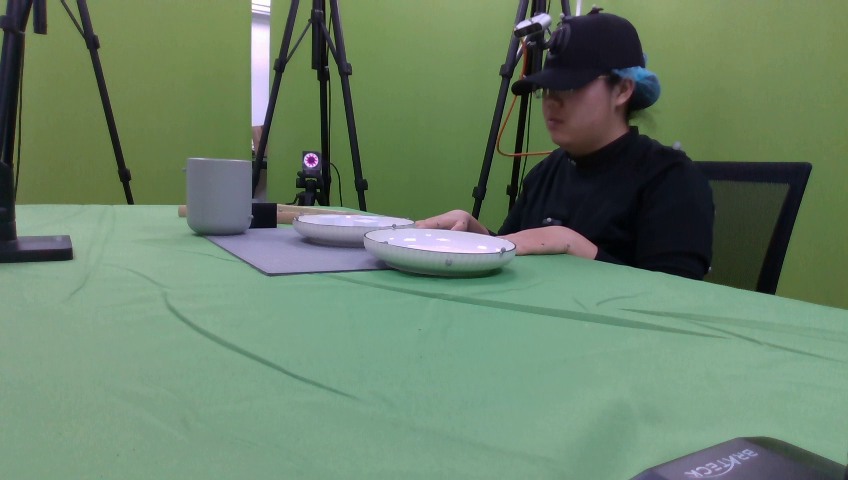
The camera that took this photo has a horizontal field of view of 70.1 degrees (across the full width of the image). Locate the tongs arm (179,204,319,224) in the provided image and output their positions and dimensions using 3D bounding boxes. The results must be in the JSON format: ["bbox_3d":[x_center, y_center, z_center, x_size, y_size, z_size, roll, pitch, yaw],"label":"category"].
[{"bbox_3d":[-0.329,-0.051,1.271,0.387,0.028,0.028,4,5,6],"label":"tongs arm"}]

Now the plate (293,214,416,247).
[{"bbox_3d":[-0.118,-0.017,1.024,0.208,0.039,0.207,2,7,0],"label":"plate"}]

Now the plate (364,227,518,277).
[{"bbox_3d":[0.022,0.016,0.817,0.209,0.038,0.209,3,9,0],"label":"plate"}]

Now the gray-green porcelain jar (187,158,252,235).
[{"bbox_3d":[-0.350,-0.075,1.036,0.106,0.126,0.106,3,8,0],"label":"gray-green porcelain jar"}]

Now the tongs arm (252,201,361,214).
[{"bbox_3d":[-0.306,-0.064,1.349,0.384,0.026,0.051,7,9,20],"label":"tongs arm"}]
